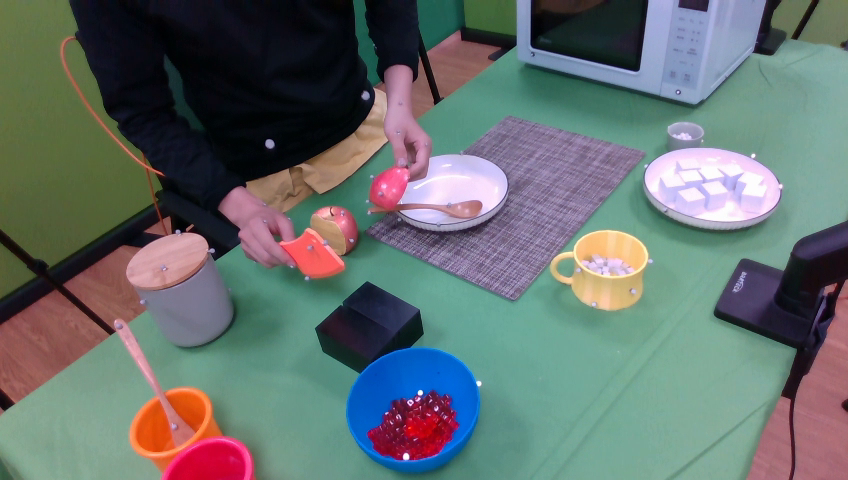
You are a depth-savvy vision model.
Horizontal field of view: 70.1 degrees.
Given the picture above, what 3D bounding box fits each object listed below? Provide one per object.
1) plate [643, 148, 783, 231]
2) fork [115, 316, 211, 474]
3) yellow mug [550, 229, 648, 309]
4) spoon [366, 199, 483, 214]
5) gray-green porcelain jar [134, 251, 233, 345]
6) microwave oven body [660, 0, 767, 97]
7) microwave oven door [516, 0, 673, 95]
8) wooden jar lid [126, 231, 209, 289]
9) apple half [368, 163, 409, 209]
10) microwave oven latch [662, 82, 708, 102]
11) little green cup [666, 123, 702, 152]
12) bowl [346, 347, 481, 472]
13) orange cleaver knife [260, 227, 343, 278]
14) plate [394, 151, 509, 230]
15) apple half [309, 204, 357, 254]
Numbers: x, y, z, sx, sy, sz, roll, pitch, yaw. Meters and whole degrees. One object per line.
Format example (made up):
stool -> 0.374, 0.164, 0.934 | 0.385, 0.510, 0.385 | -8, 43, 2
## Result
plate -> 0.464, -0.079, 0.986 | 0.207, 0.039, 0.206 | -4, 40, 4
fork -> -0.308, 0.179, 0.708 | 0.028, 0.018, 0.207 | -30, 89, -22
yellow mug -> 0.245, 0.040, 0.857 | 0.130, 0.064, 0.099 | 1, 42, 11
spoon -> 0.001, -0.055, 0.997 | 0.194, 0.022, 0.041 | 0, 33, -7
gray-green porcelain jar -> -0.334, 0.076, 0.849 | 0.106, 0.127, 0.105 | -4, 41, 4
microwave oven body -> 0.473, -0.517, 1.314 | 0.438, 0.261, 0.327 | 26, 51, 34
microwave oven door -> 0.344, -0.458, 1.256 | 0.353, 0.245, 0.039 | 26, 51, 33
wooden jar lid -> -0.340, 0.030, 0.808 | 0.108, 0.021, 0.108 | -5, 39, 5
apple half -> -0.060, -0.089, 0.923 | 0.081, 0.033, 0.081 | -28, 46, 35
microwave oven latch -> 0.517, -0.298, 1.203 | 0.078, 0.029, 0.030 | 28, 52, 35
little green cup -> 0.472, -0.183, 1.103 | 0.061, 0.039, 0.061 | -5, 41, 5
bowl -> -0.008, 0.205, 0.691 | 0.151, 0.077, 0.150 | -4, 40, 4
orange cleaver knife -> -0.172, 0.021, 0.834 | 0.012, 0.077, 0.210 | -42, 19, -30
plate -> 0.043, -0.082, 1.042 | 0.209, 0.038, 0.208 | -4, 40, 4
apple half -> -0.140, -0.022, 0.979 | 0.080, 0.075, 0.053 | 19, 44, 32
